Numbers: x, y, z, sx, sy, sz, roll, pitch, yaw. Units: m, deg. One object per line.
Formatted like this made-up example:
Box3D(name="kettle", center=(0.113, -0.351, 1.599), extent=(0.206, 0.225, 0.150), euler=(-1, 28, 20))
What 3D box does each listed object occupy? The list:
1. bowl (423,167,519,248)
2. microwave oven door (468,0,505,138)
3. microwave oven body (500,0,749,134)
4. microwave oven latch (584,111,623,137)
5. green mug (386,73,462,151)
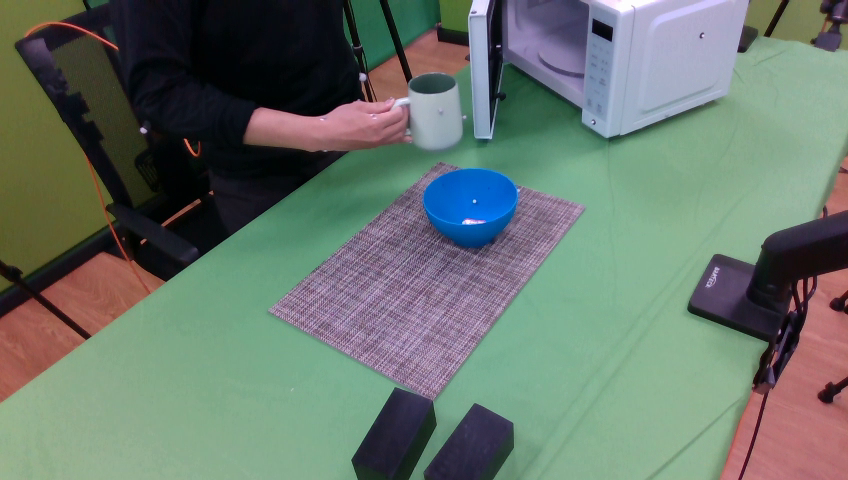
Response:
Box3D(name="bowl", center=(0.075, -0.041, 0.958), extent=(0.151, 0.077, 0.150), euler=(-4, 40, 4))
Box3D(name="microwave oven door", center=(0.132, -0.404, 1.225), extent=(0.039, 0.245, 0.354), euler=(1, 42, 11))
Box3D(name="microwave oven body", center=(0.382, -0.445, 1.246), extent=(0.327, 0.261, 0.437), euler=(-22, 42, -16))
Box3D(name="microwave oven latch", center=(0.337, -0.222, 1.142), extent=(0.030, 0.029, 0.078), euler=(-21, 42, -14))
Box3D(name="green mug", center=(0.000, -0.204, 0.986), extent=(0.126, 0.105, 0.092), euler=(-15, 42, -11))
